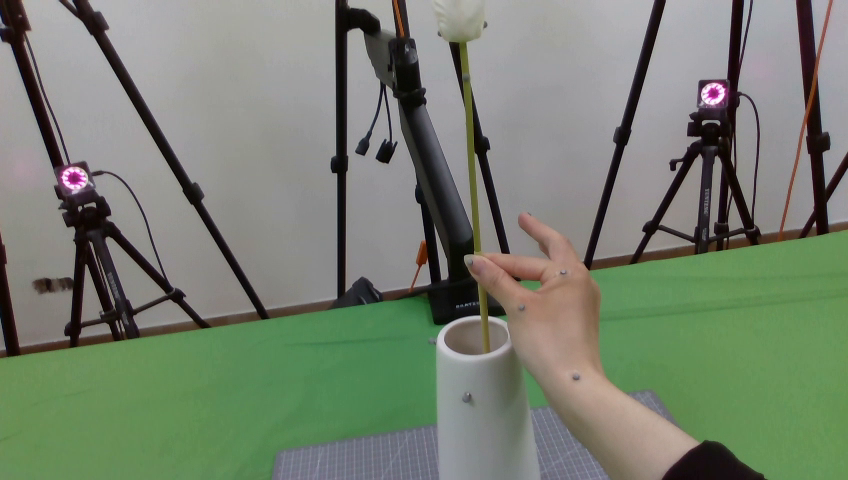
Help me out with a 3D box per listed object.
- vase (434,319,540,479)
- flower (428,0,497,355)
[{"bbox_3d":[0.055,0.174,0.559,0.098,0.201,0.097,-7,23,3],"label":"vase"},{"bbox_3d":[0.042,-0.026,0.474,0.038,0.363,0.043,-11,15,-14],"label":"flower"}]
